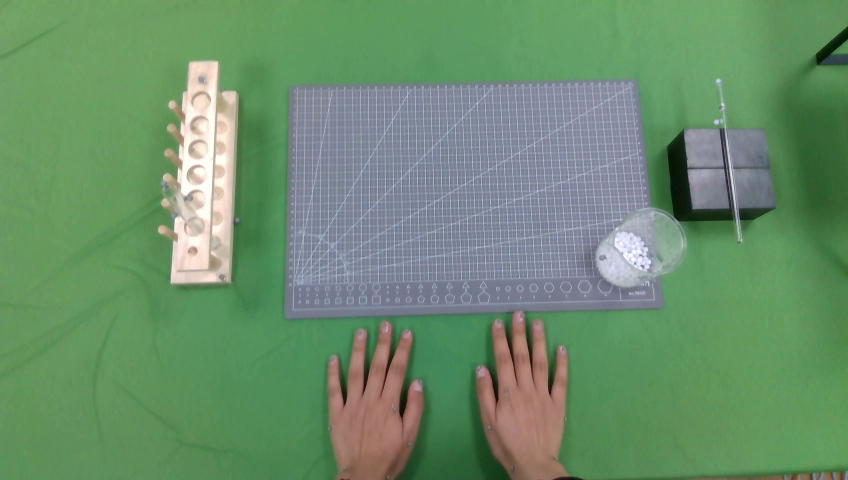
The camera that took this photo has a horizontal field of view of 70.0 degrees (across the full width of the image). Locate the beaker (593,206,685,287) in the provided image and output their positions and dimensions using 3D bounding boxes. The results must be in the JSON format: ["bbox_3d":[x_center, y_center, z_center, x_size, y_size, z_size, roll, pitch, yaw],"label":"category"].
[{"bbox_3d":[0.236,0.012,0.688,0.084,0.100,0.073,0,76,0],"label":"beaker"}]

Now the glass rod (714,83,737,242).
[{"bbox_3d":[0.356,-0.094,0.717,0.008,0.008,0.198,1,77,-1],"label":"glass rod"}]

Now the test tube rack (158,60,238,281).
[{"bbox_3d":[-0.266,-0.078,0.705,0.067,0.085,0.241,-1,77,-2],"label":"test tube rack"}]

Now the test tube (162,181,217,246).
[{"bbox_3d":[-0.245,-0.024,0.642,0.017,0.151,0.017,1,69,-4],"label":"test tube"}]
